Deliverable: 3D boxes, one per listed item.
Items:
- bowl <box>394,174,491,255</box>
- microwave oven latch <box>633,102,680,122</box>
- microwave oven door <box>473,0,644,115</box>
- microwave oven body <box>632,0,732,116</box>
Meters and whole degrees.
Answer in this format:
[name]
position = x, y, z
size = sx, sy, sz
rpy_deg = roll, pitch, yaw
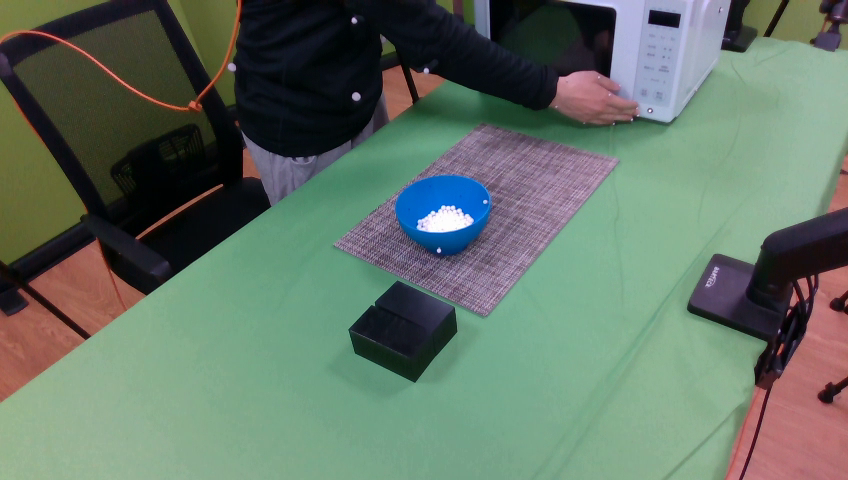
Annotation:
[bowl]
position = 0.032, -0.030, 0.949
size = 0.151, 0.077, 0.150
rpy_deg = -4, 40, 4
[microwave oven latch]
position = 0.444, -0.250, 1.158
size = 0.078, 0.029, 0.030
rpy_deg = 22, 49, 31
[microwave oven door]
position = 0.257, -0.396, 1.199
size = 0.353, 0.245, 0.039
rpy_deg = 21, 48, 29
[microwave oven body]
position = 0.377, -0.463, 1.267
size = 0.438, 0.261, 0.327
rpy_deg = 21, 48, 30
